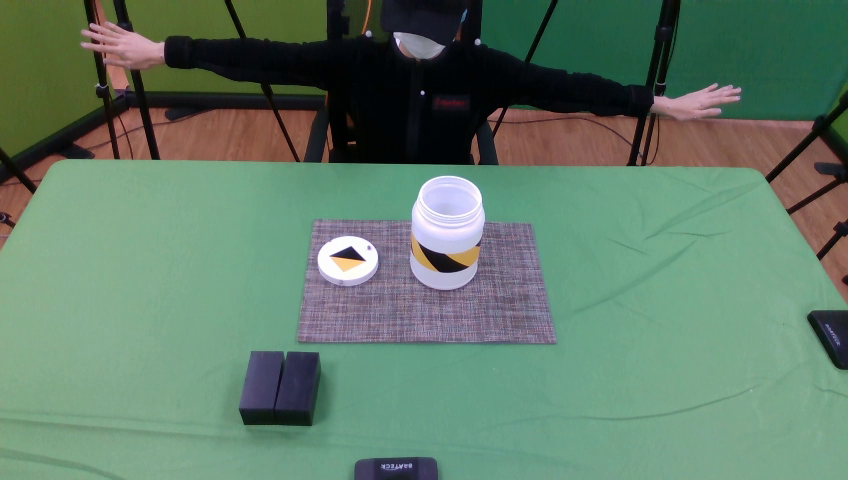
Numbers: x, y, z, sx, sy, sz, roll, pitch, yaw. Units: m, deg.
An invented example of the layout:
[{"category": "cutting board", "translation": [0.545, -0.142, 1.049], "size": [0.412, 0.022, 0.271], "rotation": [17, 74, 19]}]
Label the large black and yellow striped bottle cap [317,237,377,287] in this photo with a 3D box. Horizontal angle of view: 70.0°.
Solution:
[{"category": "large black and yellow striped bottle cap", "translation": [-0.146, 0.040, 1.148], "size": [0.115, 0.019, 0.114], "rotation": [2, 47, -2]}]

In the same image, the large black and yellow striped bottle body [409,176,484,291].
[{"category": "large black and yellow striped bottle body", "translation": [0.040, -0.012, 1.095], "size": [0.131, 0.185, 0.130], "rotation": [2, 46, -2]}]
